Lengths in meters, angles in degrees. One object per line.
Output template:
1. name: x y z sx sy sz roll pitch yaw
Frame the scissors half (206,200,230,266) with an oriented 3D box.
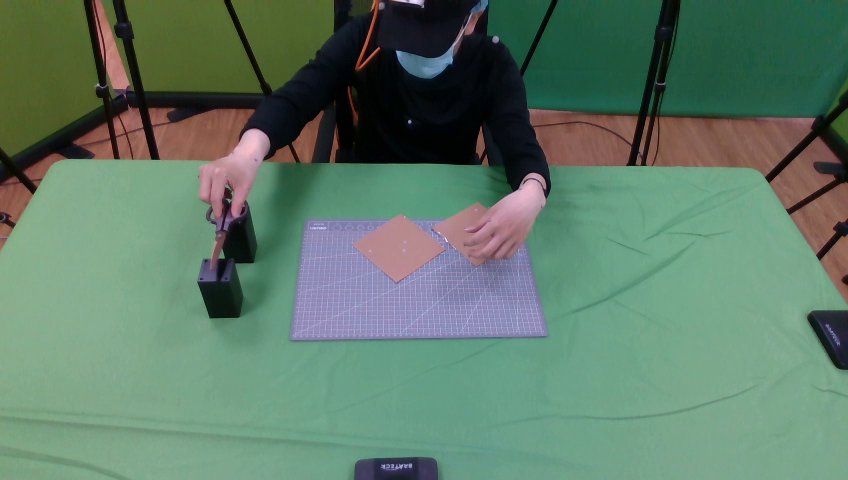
1. scissors half: -0.354 -0.014 1.035 0.040 0.013 0.174 -7 41 -10

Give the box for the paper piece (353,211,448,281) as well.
1. paper piece: -0.047 0.008 1.188 0.135 0.004 0.134 -33 57 -30

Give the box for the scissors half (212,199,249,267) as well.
1. scissors half: -0.334 -0.015 1.036 0.040 0.013 0.174 -1 41 6

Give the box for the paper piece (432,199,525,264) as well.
1. paper piece: 0.111 -0.021 1.227 0.138 0.009 0.135 -29 58 -29
